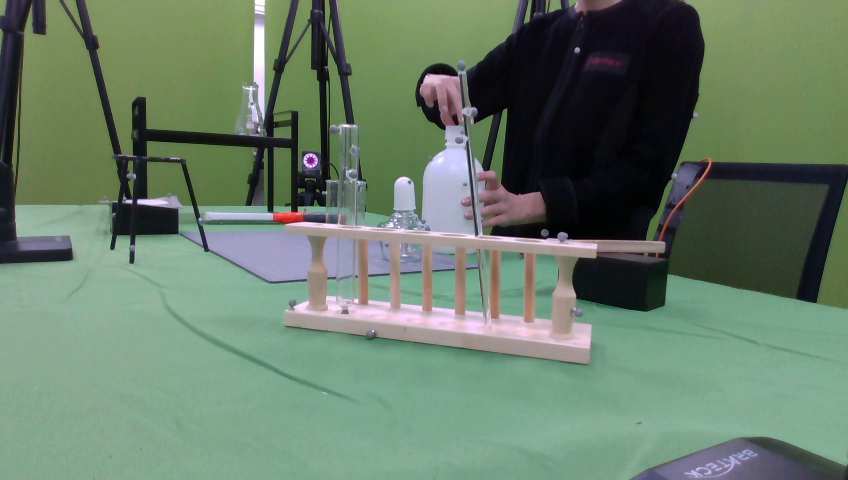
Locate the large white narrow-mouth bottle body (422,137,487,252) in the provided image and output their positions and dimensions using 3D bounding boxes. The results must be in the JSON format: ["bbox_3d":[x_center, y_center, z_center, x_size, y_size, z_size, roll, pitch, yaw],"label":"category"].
[{"bbox_3d":[0.050,-0.082,0.962,0.102,0.194,0.102,2,8,0],"label":"large white narrow-mouth bottle body"}]

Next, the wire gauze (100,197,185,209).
[{"bbox_3d":[-0.469,-0.062,1.008,0.126,0.011,0.121,-2,8,-25],"label":"wire gauze"}]

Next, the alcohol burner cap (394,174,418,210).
[{"bbox_3d":[-0.026,-0.067,0.834,0.034,0.048,0.034,-1,12,0],"label":"alcohol burner cap"}]

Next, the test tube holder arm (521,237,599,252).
[{"bbox_3d":[0.144,0.004,0.635,0.088,0.015,0.010,0,13,-19],"label":"test tube holder arm"}]

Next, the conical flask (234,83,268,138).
[{"bbox_3d":[-0.400,-0.298,1.396,0.075,0.122,0.075,2,8,0],"label":"conical flask"}]

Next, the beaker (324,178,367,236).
[{"bbox_3d":[-0.139,-0.060,1.083,0.074,0.100,0.083,-3,10,-31],"label":"beaker"}]

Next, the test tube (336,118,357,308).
[{"bbox_3d":[-0.061,-0.019,0.476,0.017,0.150,0.017,2,11,0],"label":"test tube"}]

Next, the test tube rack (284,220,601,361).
[{"bbox_3d":[0.013,0.032,0.482,0.242,0.085,0.067,4,7,16],"label":"test tube rack"}]

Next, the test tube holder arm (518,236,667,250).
[{"bbox_3d":[0.185,0.003,0.654,0.179,0.015,0.013,0,13,-18],"label":"test tube holder arm"}]

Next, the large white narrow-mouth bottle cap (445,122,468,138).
[{"bbox_3d":[0.051,-0.173,0.949,0.038,0.024,0.037,2,8,0],"label":"large white narrow-mouth bottle cap"}]

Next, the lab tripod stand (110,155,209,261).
[{"bbox_3d":[-0.361,-0.046,0.806,0.148,0.131,0.148,2,5,0],"label":"lab tripod stand"}]

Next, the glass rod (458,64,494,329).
[{"bbox_3d":[0.039,-0.029,0.449,0.008,0.199,0.008,-7,9,1],"label":"glass rod"}]

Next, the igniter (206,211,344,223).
[{"bbox_3d":[-0.302,-0.048,1.249,0.278,0.025,0.057,-2,-2,-27],"label":"igniter"}]

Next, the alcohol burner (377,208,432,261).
[{"bbox_3d":[-0.027,-0.031,0.838,0.078,0.119,0.078,0,6,0],"label":"alcohol burner"}]
